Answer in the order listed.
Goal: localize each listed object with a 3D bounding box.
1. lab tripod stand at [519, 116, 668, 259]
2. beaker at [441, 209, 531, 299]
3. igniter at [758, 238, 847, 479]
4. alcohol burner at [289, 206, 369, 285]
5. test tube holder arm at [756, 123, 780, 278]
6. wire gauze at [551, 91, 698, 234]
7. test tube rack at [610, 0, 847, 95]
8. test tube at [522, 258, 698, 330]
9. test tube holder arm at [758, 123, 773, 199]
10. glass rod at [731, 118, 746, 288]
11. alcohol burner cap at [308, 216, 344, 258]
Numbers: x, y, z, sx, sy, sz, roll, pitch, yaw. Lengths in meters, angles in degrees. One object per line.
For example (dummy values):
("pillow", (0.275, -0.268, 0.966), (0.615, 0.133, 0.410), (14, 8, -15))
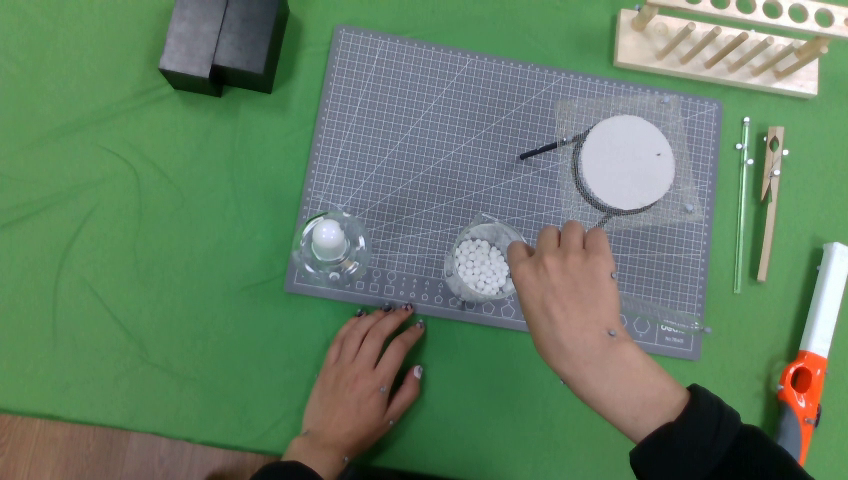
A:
("lab tripod stand", (0.166, -0.060, 0.604), (0.148, 0.131, 0.148), (1, 82, -3))
("beaker", (0.055, 0.019, 0.599), (0.074, 0.100, 0.083), (-12, 82, -7))
("igniter", (0.415, 0.129, 0.659), (0.057, 0.025, 0.276), (23, 80, -12))
("alcohol burner", (-0.091, 0.002, 0.580), (0.078, 0.119, 0.077), (1, 79, -5))
("test tube holder arm", (0.388, -0.046, 0.682), (0.013, 0.015, 0.178), (4, 80, 30))
("wire gauze", (0.176, -0.072, 0.538), (0.121, 0.011, 0.124), (-5, 83, -5))
("test tube rack", (0.341, -0.226, 0.671), (0.243, 0.085, 0.066), (8, 81, -4))
("test tube", (0.156, 0.046, 0.516), (0.149, 0.017, 0.017), (19, 79, 20))
("test tube holder arm", (0.390, -0.090, 0.692), (0.010, 0.015, 0.087), (4, 81, 30))
("glass rod", (0.356, -0.044, 0.686), (0.008, 0.008, 0.199), (8, 81, -5))
("alcohol burner cap", (-0.089, -0.005, 0.545), (0.034, 0.048, 0.033), (3, 72, -8))
